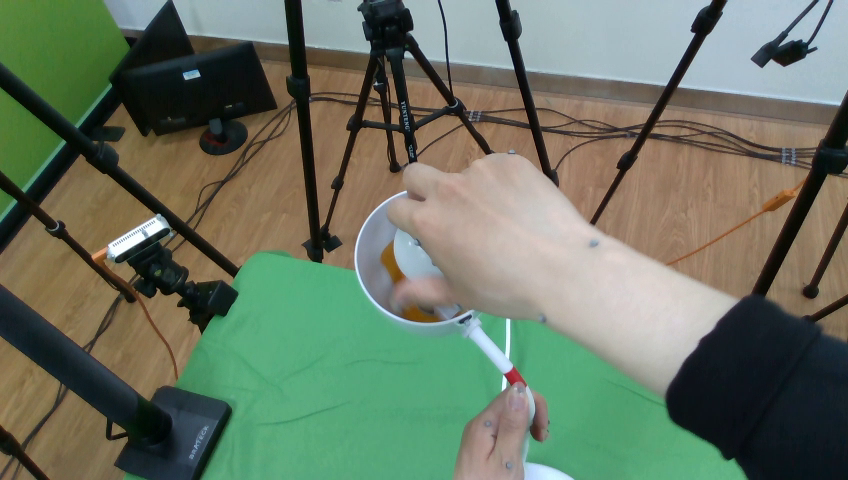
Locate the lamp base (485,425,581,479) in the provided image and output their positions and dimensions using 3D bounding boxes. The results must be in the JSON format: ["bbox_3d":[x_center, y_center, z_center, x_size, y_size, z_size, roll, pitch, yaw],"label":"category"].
[{"bbox_3d":[0.117,0.281,0.643,0.161,0.182,0.177,-23,53,-9],"label":"lamp base"}]

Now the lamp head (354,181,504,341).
[{"bbox_3d":[0.009,0.030,0.492,0.112,0.124,0.111,-3,63,6],"label":"lamp head"}]

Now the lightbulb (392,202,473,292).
[{"bbox_3d":[0.005,0.013,0.465,0.059,0.108,0.059,2,63,-3],"label":"lightbulb"}]
